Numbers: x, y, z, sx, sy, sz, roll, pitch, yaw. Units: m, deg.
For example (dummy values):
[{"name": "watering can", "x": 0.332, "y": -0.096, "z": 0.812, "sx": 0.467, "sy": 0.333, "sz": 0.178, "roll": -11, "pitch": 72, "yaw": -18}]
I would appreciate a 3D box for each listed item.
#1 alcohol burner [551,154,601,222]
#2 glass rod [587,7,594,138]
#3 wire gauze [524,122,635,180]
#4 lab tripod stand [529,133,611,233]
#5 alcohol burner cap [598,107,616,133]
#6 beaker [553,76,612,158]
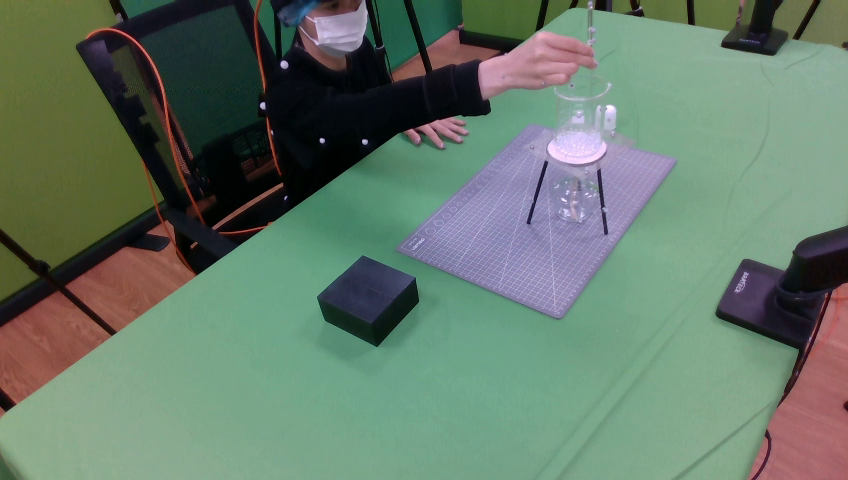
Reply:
[{"name": "alcohol burner", "x": 0.244, "y": -0.088, "z": 0.966, "sx": 0.078, "sy": 0.119, "sz": 0.077, "roll": -3, "pitch": 40, "yaw": 3}, {"name": "glass rod", "x": 0.236, "y": -0.229, "z": 0.854, "sx": 0.008, "sy": 0.201, "sz": 0.008, "roll": -9, "pitch": 40, "yaw": 8}, {"name": "wire gauze", "x": 0.233, "y": -0.142, "z": 0.913, "sx": 0.122, "sy": 0.011, "sz": 0.124, "roll": -31, "pitch": 43, "yaw": -26}, {"name": "lab tripod stand", "x": 0.236, "y": -0.089, "z": 0.953, "sx": 0.148, "sy": 0.132, "sz": 0.147, "roll": -5, "pitch": 42, "yaw": 5}, {"name": "alcohol burner cap", "x": 0.361, "y": -0.239, "z": 1.189, "sx": 0.034, "sy": 0.048, "sz": 0.033, "roll": -4, "pitch": 40, "yaw": 4}, {"name": "beaker", "x": 0.230, "y": -0.178, "z": 0.882, "sx": 0.084, "sy": 0.101, "sz": 0.073, "roll": -9, "pitch": 41, "yaw": 1}]
